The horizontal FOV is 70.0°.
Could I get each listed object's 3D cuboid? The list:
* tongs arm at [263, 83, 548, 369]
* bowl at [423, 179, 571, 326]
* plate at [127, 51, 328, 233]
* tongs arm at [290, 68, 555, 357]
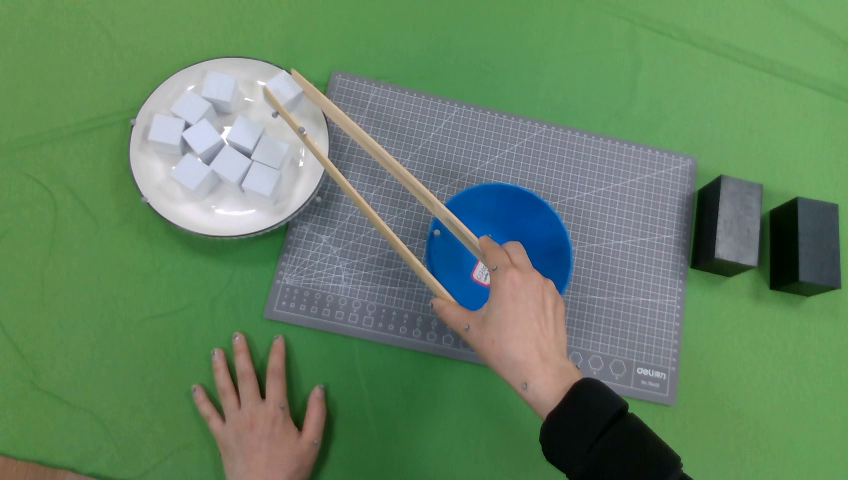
[{"bbox_3d":[-0.030,-0.027,0.571,0.051,0.027,0.382,-32,70,-21],"label":"tongs arm"},{"bbox_3d":[0.069,0.020,0.634,0.152,0.077,0.150,2,75,-7],"label":"bowl"},{"bbox_3d":[-0.208,-0.104,0.657,0.208,0.039,0.206,2,75,-5],"label":"plate"},{"bbox_3d":[-0.013,-0.040,0.579,0.028,0.028,0.385,-36,71,-26],"label":"tongs arm"}]
